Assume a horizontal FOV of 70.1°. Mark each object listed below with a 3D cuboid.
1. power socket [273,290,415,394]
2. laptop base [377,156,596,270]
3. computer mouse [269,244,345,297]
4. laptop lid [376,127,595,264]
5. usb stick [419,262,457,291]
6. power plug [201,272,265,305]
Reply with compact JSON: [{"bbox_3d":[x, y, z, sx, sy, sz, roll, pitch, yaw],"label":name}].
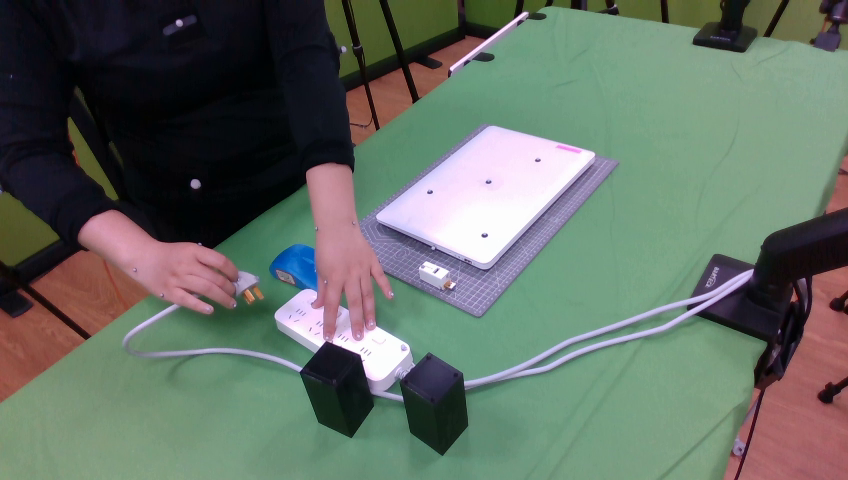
[{"bbox_3d":[-0.114,0.134,0.820,0.225,0.033,0.072,24,48,32],"label":"power socket"},{"bbox_3d":[0.115,-0.086,1.056,0.233,0.023,0.355,21,48,34],"label":"laptop base"},{"bbox_3d":[-0.181,0.044,0.933,0.116,0.041,0.063,23,47,25],"label":"computer mouse"},{"bbox_3d":[0.112,-0.096,1.051,0.239,0.013,0.358,24,49,35],"label":"laptop lid"},{"bbox_3d":[0.022,0.056,0.892,0.058,0.027,0.021,26,48,30],"label":"usb stick"},{"bbox_3d":[-0.254,0.075,0.814,0.073,0.035,0.052,-39,90,-21],"label":"power plug"}]
